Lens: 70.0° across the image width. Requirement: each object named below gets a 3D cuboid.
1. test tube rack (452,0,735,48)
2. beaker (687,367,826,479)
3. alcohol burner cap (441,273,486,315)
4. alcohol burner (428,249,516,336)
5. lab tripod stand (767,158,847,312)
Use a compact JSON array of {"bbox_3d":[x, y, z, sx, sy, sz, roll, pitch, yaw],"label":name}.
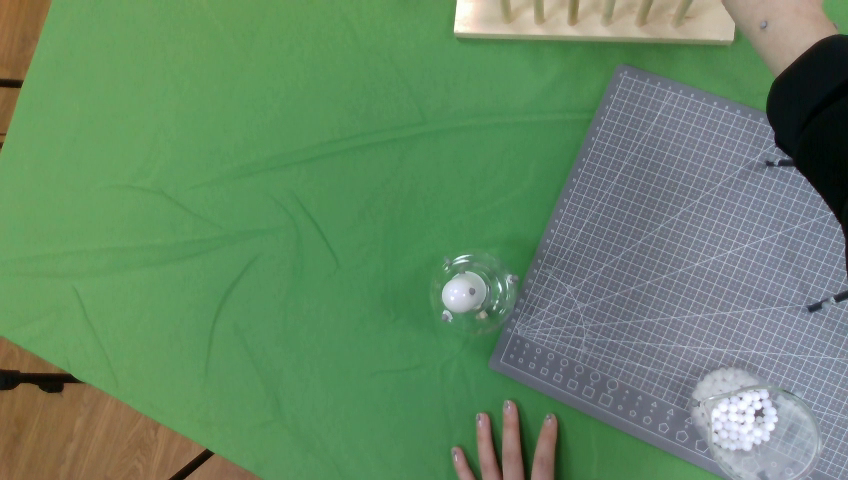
[{"bbox_3d":[0.139,-0.212,0.511,0.241,0.085,0.066,6,90,13],"label":"test tube rack"},{"bbox_3d":[0.247,0.139,0.472,0.083,0.100,0.074,30,95,13],"label":"beaker"},{"bbox_3d":[0.029,0.044,0.482,0.034,0.048,0.034,1,92,14],"label":"alcohol burner cap"},{"bbox_3d":[0.038,0.045,0.517,0.078,0.119,0.078,-1,87,11],"label":"alcohol burner"},{"bbox_3d":[0.325,-0.013,0.438,0.148,0.132,0.148,0,90,12],"label":"lab tripod stand"}]
